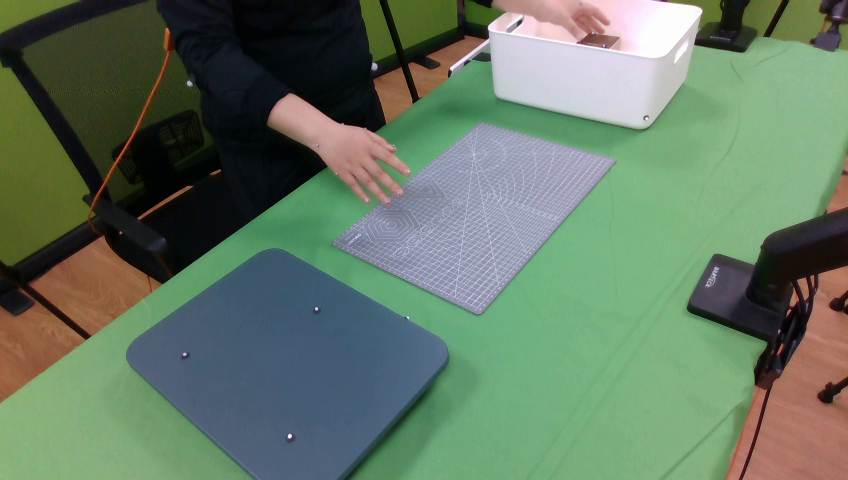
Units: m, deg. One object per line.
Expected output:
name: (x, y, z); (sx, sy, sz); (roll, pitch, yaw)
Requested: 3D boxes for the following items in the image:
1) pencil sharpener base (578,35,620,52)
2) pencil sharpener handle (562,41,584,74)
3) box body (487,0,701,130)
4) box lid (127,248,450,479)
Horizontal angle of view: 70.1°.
pencil sharpener base: (0.361, -0.367, 1.273); (0.076, 0.107, 0.061); (21, 48, 30)
pencil sharpener handle: (0.315, -0.389, 1.286); (0.030, 0.068, 0.036); (21, 26, 30)
box body: (0.345, -0.379, 1.257); (0.361, 0.161, 0.255); (20, 48, 29)
box lid: (-0.177, 0.145, 0.768); (0.368, 0.015, 0.264); (24, 50, 32)
